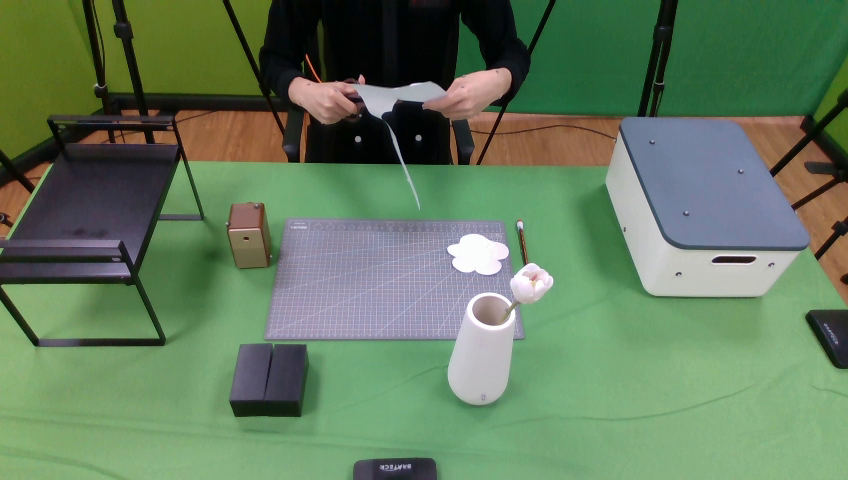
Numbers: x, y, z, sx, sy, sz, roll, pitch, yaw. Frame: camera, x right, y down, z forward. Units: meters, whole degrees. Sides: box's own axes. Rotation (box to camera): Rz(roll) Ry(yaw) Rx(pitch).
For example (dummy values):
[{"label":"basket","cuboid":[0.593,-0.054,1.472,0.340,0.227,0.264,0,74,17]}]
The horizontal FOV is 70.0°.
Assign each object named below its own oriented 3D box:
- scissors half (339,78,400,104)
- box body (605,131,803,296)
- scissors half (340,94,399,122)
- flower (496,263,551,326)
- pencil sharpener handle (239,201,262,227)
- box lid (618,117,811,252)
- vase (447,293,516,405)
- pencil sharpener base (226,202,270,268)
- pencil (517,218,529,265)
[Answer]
[{"label":"scissors half","cuboid":[-0.100,-0.264,1.088,0.013,0.040,0.174,-18,31,-39]},{"label":"box body","cuboid":[0.530,-0.067,1.204,0.254,0.161,0.361,1,46,-4]},{"label":"scissors half","cuboid":[-0.099,-0.243,1.093,0.013,0.040,0.174,-11,5,-41]},{"label":"flower","cuboid":[0.102,0.120,0.853,0.044,0.363,0.038,-2,64,-10]},{"label":"pencil sharpener handle","cuboid":[-0.325,-0.056,1.150,0.036,0.068,0.030,-13,47,4]},{"label":"box lid","cuboid":[0.534,-0.117,1.149,0.263,0.015,0.369,0,47,-3]},{"label":"vase","cuboid":[0.091,0.169,0.921,0.098,0.201,0.097,3,47,-3]},{"label":"pencil sharpener base","cuboid":[-0.323,-0.010,1.124,0.061,0.107,0.076,-3,46,-7]},{"label":"pencil","cuboid":[0.200,0.027,1.196,0.012,0.012,0.193,1,48,-3]}]
